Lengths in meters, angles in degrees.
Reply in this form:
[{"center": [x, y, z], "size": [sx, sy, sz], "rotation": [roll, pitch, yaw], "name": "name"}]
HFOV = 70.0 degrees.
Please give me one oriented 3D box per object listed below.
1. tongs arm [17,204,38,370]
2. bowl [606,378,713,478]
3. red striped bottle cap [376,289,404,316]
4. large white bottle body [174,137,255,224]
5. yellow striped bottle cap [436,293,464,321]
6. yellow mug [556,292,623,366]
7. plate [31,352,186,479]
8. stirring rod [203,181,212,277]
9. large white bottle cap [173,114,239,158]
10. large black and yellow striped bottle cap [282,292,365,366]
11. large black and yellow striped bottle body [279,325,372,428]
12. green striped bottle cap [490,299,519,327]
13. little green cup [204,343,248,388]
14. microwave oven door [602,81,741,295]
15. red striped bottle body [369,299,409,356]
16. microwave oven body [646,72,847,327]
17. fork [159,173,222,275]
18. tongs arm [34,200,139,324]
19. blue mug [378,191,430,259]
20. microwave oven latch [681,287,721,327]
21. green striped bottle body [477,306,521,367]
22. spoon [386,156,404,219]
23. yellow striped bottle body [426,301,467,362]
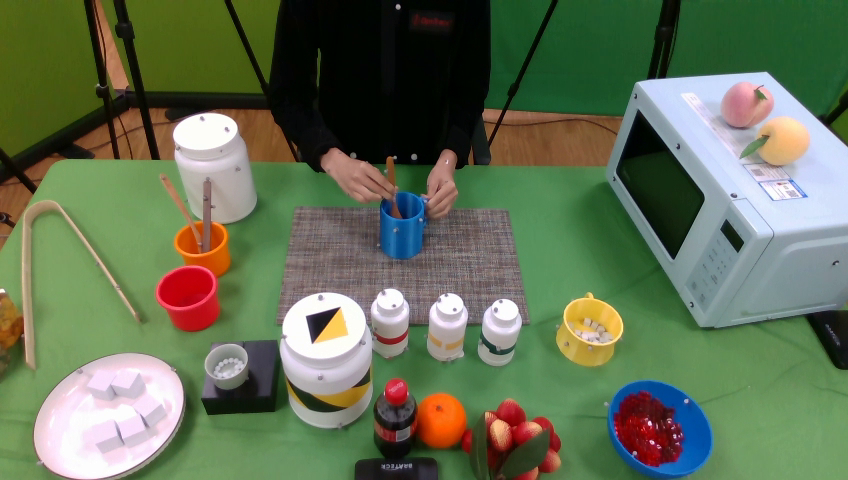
[{"center": [-0.698, 0.069, 1.068], "size": [0.028, 0.028, 0.385], "rotation": [-20, 50, -13], "name": "tongs arm"}, {"center": [0.340, 0.292, 0.906], "size": [0.151, 0.077, 0.150], "rotation": [2, 46, -2], "name": "bowl"}, {"center": [-0.055, 0.098, 0.958], "size": [0.044, 0.018, 0.044], "rotation": [0, 48, 0], "name": "red striped bottle cap"}, {"center": [-0.408, -0.136, 1.183], "size": [0.131, 0.185, 0.130], "rotation": [2, 46, -2], "name": "large white bottle body"}, {"center": [0.041, 0.106, 0.959], "size": [0.044, 0.019, 0.044], "rotation": [-1, 50, 1], "name": "yellow striped bottle cap"}, {"center": [0.285, 0.145, 1.051], "size": [0.100, 0.064, 0.130], "rotation": [7, 45, 3], "name": "yellow mug"}, {"center": [-0.459, 0.262, 0.898], "size": [0.209, 0.038, 0.208], "rotation": [2, 46, -2], "name": "plate"}, {"center": [-0.396, -0.021, 1.108], "size": [0.014, 0.006, 0.176], "rotation": [-1, 89, -1], "name": "stirring rod"}, {"center": [-0.403, -0.195, 1.122], "size": [0.115, 0.018, 0.114], "rotation": [2, 47, -2], "name": "large white bottle cap"}, {"center": [-0.138, 0.121, 0.841], "size": [0.115, 0.019, 0.114], "rotation": [3, 47, -3], "name": "large black and yellow striped bottle cap"}, {"center": [-0.143, 0.181, 0.900], "size": [0.131, 0.185, 0.130], "rotation": [2, 46, -2], "name": "large black and yellow striped bottle body"}, {"center": [0.127, 0.115, 0.958], "size": [0.044, 0.020, 0.044], "rotation": [2, 48, -2], "name": "green striped bottle cap"}, {"center": [-0.294, 0.190, 0.909], "size": [0.061, 0.039, 0.061], "rotation": [1, 48, -1], "name": "little green cup"}, {"center": [0.456, -0.107, 1.162], "size": [0.039, 0.245, 0.353], "rotation": [-7, 47, -11], "name": "microwave oven door"}, {"center": [-0.058, 0.134, 0.997], "size": [0.063, 0.120, 0.062], "rotation": [4, 47, -4], "name": "red striped bottle body"}, {"center": [0.607, -0.089, 1.164], "size": [0.326, 0.261, 0.438], "rotation": [-7, 46, -10], "name": "microwave oven body"}, {"center": [-0.427, -0.029, 1.103], "size": [0.028, 0.018, 0.207], "rotation": [-31, 99, -30], "name": "fork"}, {"center": [-0.622, 0.034, 1.105], "size": [0.051, 0.026, 0.382], "rotation": [-32, 55, -26], "name": "tongs arm"}, {"center": [-0.033, -0.035, 1.167], "size": [0.116, 0.106, 0.082], "rotation": [-31, 56, -30], "name": "blue mug"}, {"center": [0.494, 0.119, 1.087], "size": [0.030, 0.029, 0.078], "rotation": [-6, 46, -9], "name": "microwave oven latch"}, {"center": [0.124, 0.151, 0.995], "size": [0.063, 0.120, 0.063], "rotation": [2, 46, -2], "name": "green striped bottle body"}, {"center": [-0.058, -0.080, 1.126], "size": [0.041, 0.195, 0.021], "rotation": [2, 43, 6], "name": "spoon"}, {"center": [0.037, 0.142, 0.996], "size": [0.063, 0.121, 0.062], "rotation": [3, 46, -2], "name": "yellow striped bottle body"}]
